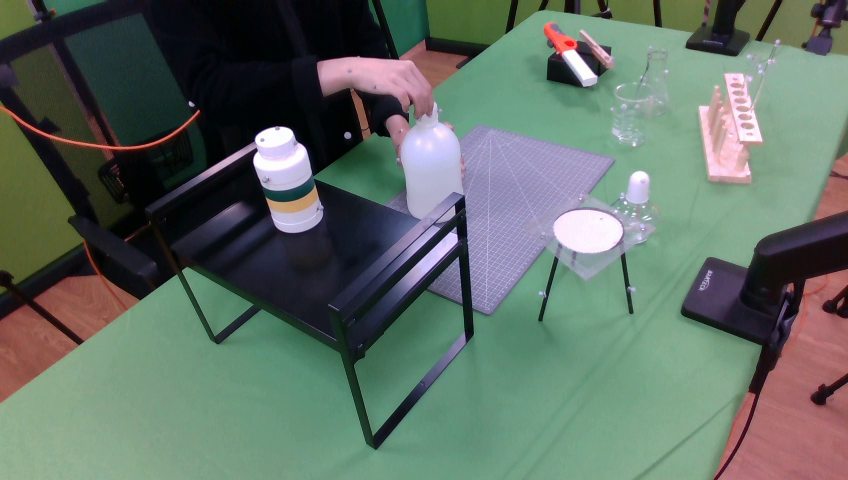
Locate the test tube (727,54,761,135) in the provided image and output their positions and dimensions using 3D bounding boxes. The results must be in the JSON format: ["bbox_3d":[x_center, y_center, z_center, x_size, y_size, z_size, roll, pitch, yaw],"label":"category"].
[{"bbox_3d":[0.564,-0.254,1.069,0.017,0.151,0.017,-1,40,1],"label":"test tube"}]

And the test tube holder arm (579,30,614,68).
[{"bbox_3d":[0.384,-0.428,1.351,0.013,0.015,0.177,-11,41,-3],"label":"test tube holder arm"}]

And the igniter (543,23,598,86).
[{"bbox_3d":[0.320,-0.419,1.345,0.057,0.025,0.274,-12,44,-3],"label":"igniter"}]

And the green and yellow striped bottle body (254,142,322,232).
[{"bbox_3d":[-0.165,-0.073,0.732,0.063,0.120,0.063,-4,41,4],"label":"green and yellow striped bottle body"}]

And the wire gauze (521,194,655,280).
[{"bbox_3d":[0.207,-0.012,0.772,0.122,0.011,0.124,-28,44,-20],"label":"wire gauze"}]

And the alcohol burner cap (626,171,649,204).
[{"bbox_3d":[0.320,-0.081,0.901,0.034,0.048,0.033,-4,42,4],"label":"alcohol burner cap"}]

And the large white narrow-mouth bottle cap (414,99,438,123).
[{"bbox_3d":[0.002,-0.199,0.935,0.038,0.024,0.037,-5,39,4],"label":"large white narrow-mouth bottle cap"}]

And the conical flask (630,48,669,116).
[{"bbox_3d":[0.457,-0.317,1.205,0.075,0.122,0.075,-4,41,4],"label":"conical flask"}]

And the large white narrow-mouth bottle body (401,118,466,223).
[{"bbox_3d":[0.013,-0.129,0.991,0.102,0.195,0.101,-5,39,5],"label":"large white narrow-mouth bottle body"}]

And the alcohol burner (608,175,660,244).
[{"bbox_3d":[0.322,-0.053,0.924,0.078,0.119,0.077,-4,43,4],"label":"alcohol burner"}]

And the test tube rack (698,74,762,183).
[{"bbox_3d":[0.547,-0.208,1.095,0.066,0.085,0.242,5,42,15],"label":"test tube rack"}]

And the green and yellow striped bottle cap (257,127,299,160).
[{"bbox_3d":[-0.169,-0.112,0.698,0.045,0.020,0.045,-5,40,5],"label":"green and yellow striped bottle cap"}]

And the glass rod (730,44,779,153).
[{"bbox_3d":[0.555,-0.234,1.021,0.008,0.200,0.008,2,40,-1],"label":"glass rod"}]

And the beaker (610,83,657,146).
[{"bbox_3d":[0.388,-0.235,1.138,0.074,0.101,0.083,-31,45,-25],"label":"beaker"}]

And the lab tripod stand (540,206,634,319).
[{"bbox_3d":[0.217,0.034,0.821,0.148,0.132,0.147,-4,42,4],"label":"lab tripod stand"}]

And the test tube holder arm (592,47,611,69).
[{"bbox_3d":[0.386,-0.398,1.317,0.010,0.015,0.087,-10,41,-2],"label":"test tube holder arm"}]
